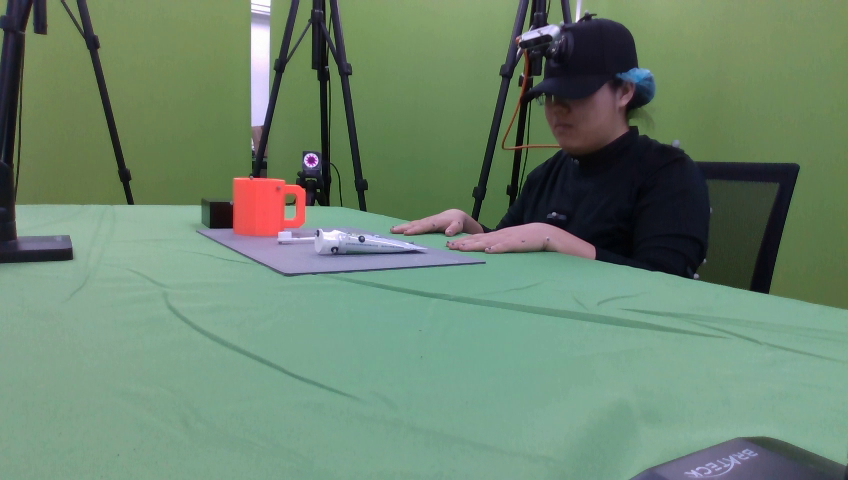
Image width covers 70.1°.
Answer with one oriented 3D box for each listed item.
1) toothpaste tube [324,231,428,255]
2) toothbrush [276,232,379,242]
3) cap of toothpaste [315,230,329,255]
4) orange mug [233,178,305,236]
[{"bbox_3d":[-0.076,0.006,0.893,0.166,0.034,0.055,1,10,-32],"label":"toothpaste tube"},{"bbox_3d":[-0.153,-0.005,0.990,0.183,0.016,0.014,0,-7,-34],"label":"toothbrush"},{"bbox_3d":[-0.144,0.003,0.854,0.011,0.037,0.037,2,6,-30],"label":"cap of toothpaste"},{"bbox_3d":[-0.273,-0.061,1.067,0.127,0.101,0.083,-5,10,-24],"label":"orange mug"}]
